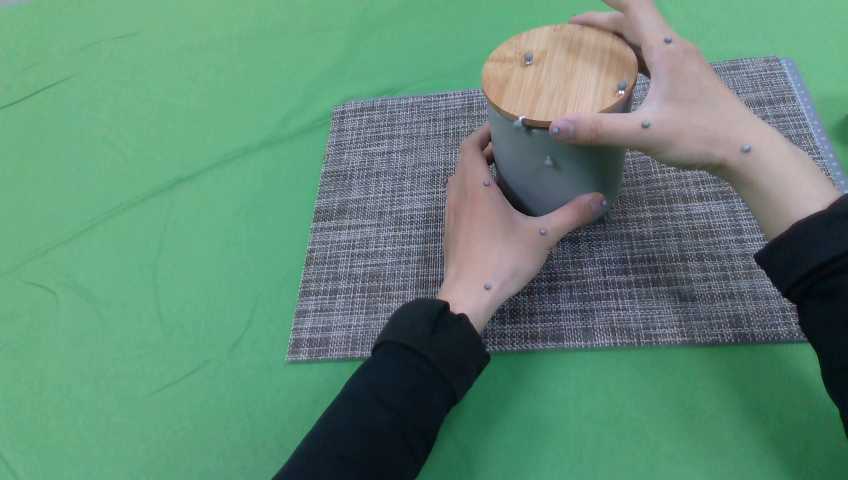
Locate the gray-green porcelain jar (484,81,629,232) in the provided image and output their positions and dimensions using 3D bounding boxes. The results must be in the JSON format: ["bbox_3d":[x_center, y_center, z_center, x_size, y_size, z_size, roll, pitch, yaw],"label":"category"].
[{"bbox_3d":[0.104,-0.076,0.486,0.106,0.128,0.105,-6,53,8],"label":"gray-green porcelain jar"}]

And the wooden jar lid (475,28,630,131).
[{"bbox_3d":[0.091,-0.113,0.435,0.108,0.021,0.107,-5,53,7],"label":"wooden jar lid"}]
